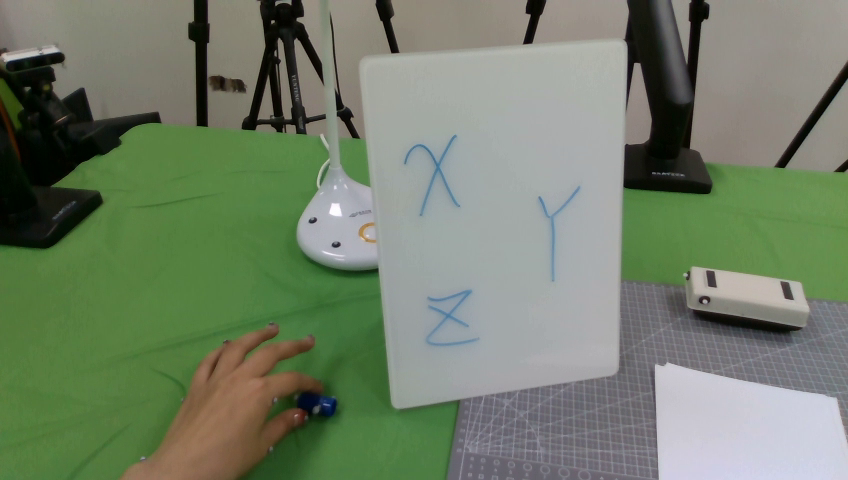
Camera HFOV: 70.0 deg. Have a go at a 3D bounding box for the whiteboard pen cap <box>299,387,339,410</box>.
[{"bbox_3d":[-0.093,0.141,0.540,0.033,0.018,0.018,5,35,13],"label":"whiteboard pen cap"}]

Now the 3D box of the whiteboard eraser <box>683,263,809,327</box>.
[{"bbox_3d":[0.332,0.058,0.631,0.112,0.042,0.055,10,38,13],"label":"whiteboard eraser"}]

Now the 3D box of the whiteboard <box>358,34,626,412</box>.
[{"bbox_3d":[0.057,-0.024,0.575,0.217,0.307,0.143,-7,17,-8],"label":"whiteboard"}]

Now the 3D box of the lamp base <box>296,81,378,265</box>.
[{"bbox_3d":[-0.088,-0.087,0.723,0.161,0.182,0.177,-24,39,-30],"label":"lamp base"}]
